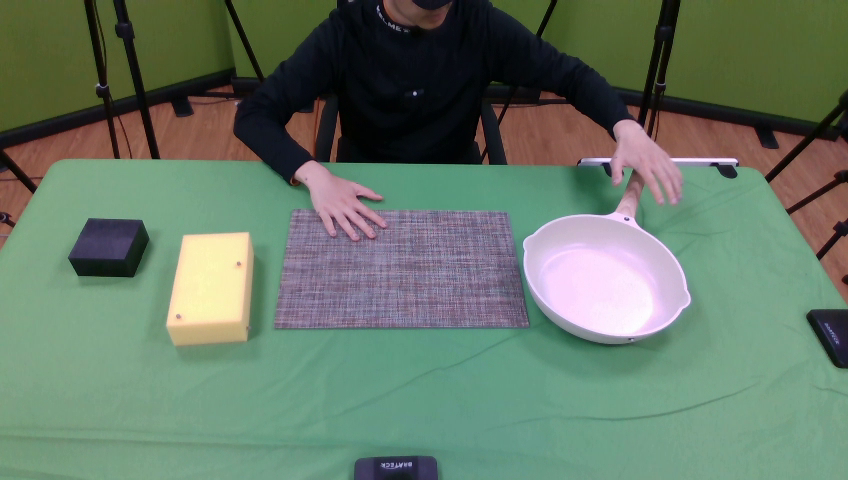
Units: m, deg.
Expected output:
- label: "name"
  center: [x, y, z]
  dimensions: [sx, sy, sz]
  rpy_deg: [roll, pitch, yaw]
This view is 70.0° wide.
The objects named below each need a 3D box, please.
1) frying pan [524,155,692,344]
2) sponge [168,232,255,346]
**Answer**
- label: "frying pan"
  center: [0.372, -0.002, 1.167]
  dimensions: [0.306, 0.103, 0.486]
  rpy_deg: [22, 57, 16]
- label: "sponge"
  center: [-0.368, 0.081, 1.065]
  dimensions: [0.118, 0.061, 0.205]
  rpy_deg: [-4, 46, -7]
